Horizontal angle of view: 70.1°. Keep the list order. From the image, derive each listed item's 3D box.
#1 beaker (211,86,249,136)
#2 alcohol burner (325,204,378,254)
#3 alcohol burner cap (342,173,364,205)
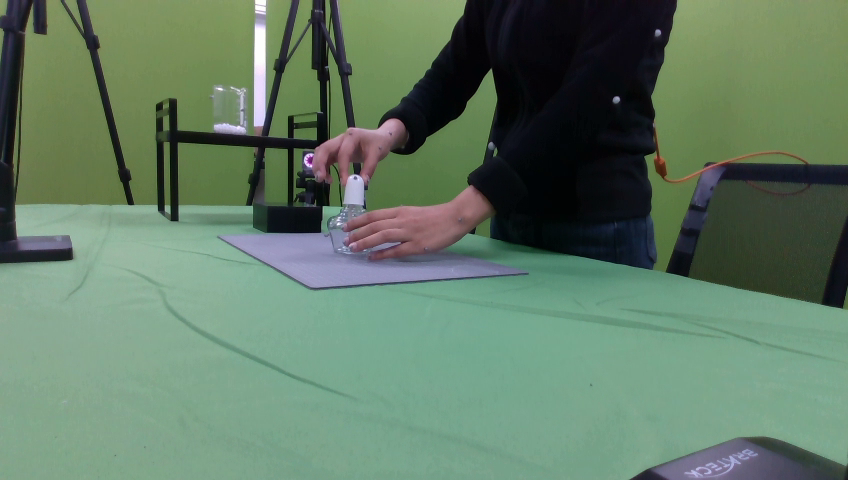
[{"bbox_3d":[-0.413,-0.274,1.297,0.074,0.100,0.083,-5,11,-44],"label":"beaker"},{"bbox_3d":[-0.107,-0.040,0.895,0.078,0.119,0.078,2,5,0],"label":"alcohol burner"},{"bbox_3d":[-0.103,-0.075,0.892,0.034,0.048,0.034,5,3,0],"label":"alcohol burner cap"}]
